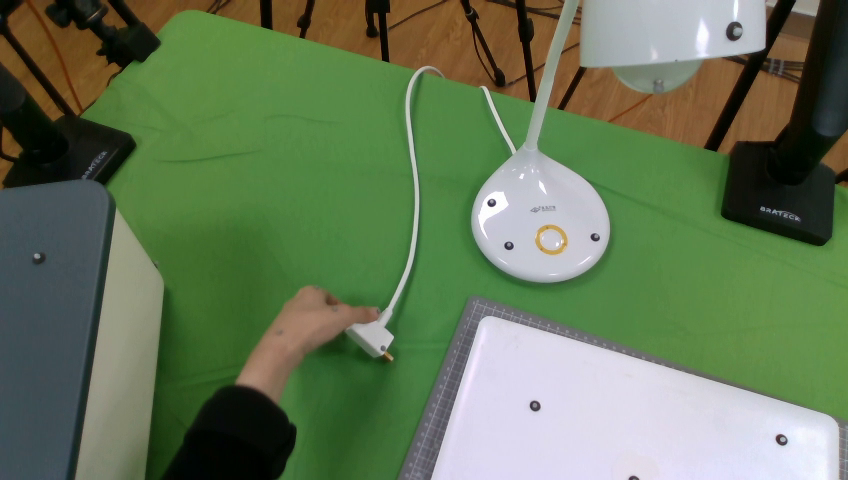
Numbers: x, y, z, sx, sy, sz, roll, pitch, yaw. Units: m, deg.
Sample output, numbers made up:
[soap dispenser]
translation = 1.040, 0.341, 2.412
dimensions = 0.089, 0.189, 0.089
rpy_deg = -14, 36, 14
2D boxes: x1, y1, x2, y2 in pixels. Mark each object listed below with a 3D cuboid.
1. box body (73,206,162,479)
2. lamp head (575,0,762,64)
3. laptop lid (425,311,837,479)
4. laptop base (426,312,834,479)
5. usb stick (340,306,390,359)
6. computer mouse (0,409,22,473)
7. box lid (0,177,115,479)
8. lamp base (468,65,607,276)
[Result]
[box body]
translation = -0.387, 0.151, 0.521
dimensions = 0.254, 0.161, 0.360
rpy_deg = -6, 60, -4
[lamp head]
translation = 0.146, -0.174, 0.374
dimensions = 0.112, 0.112, 0.123
rpy_deg = -9, 103, -5
[laptop lid]
translation = 0.187, 0.214, 0.550
dimensions = 0.356, 0.013, 0.240
rpy_deg = 17, 64, 10
[laptop base]
translation = 0.188, 0.218, 0.561
dimensions = 0.353, 0.023, 0.234
rpy_deg = 15, 64, 9
[usb stick]
translation = -0.055, 0.097, 0.622
dimensions = 0.059, 0.021, 0.027
rpy_deg = 48, 50, -14
[computer mouse]
translation = -0.415, 0.197, 0.552
dimensions = 0.063, 0.041, 0.116
rpy_deg = -33, 24, -7
[box lid]
translation = -0.388, 0.111, 0.458
dimensions = 0.263, 0.015, 0.368
rpy_deg = -7, 61, -3
[lamp base]
translation = 0.125, -0.078, 0.642
dimensions = 0.161, 0.182, 0.177
rpy_deg = -16, 58, -9
